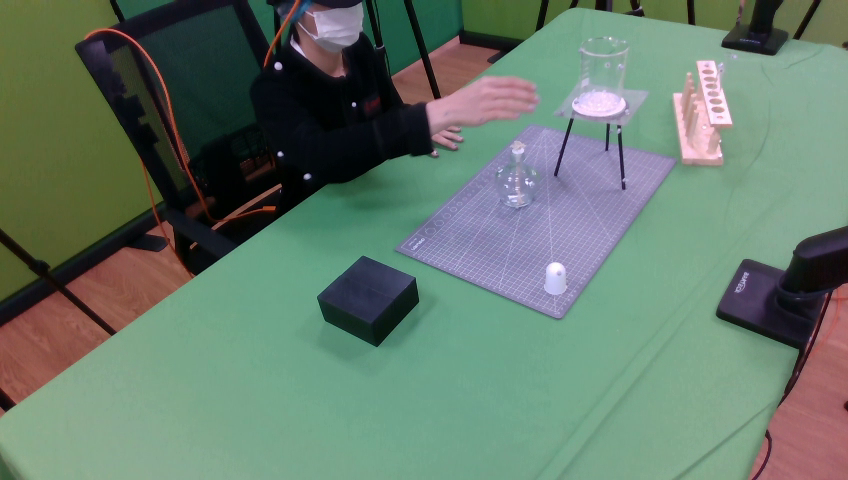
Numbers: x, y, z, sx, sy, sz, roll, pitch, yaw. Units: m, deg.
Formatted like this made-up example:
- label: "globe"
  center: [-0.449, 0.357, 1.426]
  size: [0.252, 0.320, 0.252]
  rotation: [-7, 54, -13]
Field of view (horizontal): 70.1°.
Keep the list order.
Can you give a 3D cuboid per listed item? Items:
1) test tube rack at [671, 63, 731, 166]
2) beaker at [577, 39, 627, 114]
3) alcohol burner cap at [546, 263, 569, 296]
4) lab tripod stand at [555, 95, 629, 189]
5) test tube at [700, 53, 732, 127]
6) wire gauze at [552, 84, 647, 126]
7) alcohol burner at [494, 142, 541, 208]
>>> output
- label: "test tube rack"
  center: [0.513, -0.241, 1.132]
  size: [0.066, 0.085, 0.242]
  rotation: [4, 41, 14]
- label: "beaker"
  center: [0.286, -0.264, 0.976]
  size: [0.073, 0.101, 0.084]
  rotation: [25, 49, 33]
- label: "alcohol burner cap"
  center: [0.191, 0.053, 0.862]
  size: [0.034, 0.048, 0.033]
  rotation: [-5, 40, 4]
- label: "lab tripod stand"
  center: [0.300, -0.174, 1.045]
  size: [0.148, 0.132, 0.147]
  rotation: [-5, 38, 5]
- label: "test tube"
  center: [0.521, -0.265, 1.081]
  size: [0.017, 0.151, 0.017]
  rotation: [-3, 47, 3]
- label: "wire gauze"
  center: [0.293, -0.224, 1.004]
  size: [0.120, 0.011, 0.125]
  rotation: [19, 43, 26]
- label: "alcohol burner"
  center: [0.157, -0.113, 1.011]
  size: [0.078, 0.119, 0.077]
  rotation: [-3, 41, 3]
